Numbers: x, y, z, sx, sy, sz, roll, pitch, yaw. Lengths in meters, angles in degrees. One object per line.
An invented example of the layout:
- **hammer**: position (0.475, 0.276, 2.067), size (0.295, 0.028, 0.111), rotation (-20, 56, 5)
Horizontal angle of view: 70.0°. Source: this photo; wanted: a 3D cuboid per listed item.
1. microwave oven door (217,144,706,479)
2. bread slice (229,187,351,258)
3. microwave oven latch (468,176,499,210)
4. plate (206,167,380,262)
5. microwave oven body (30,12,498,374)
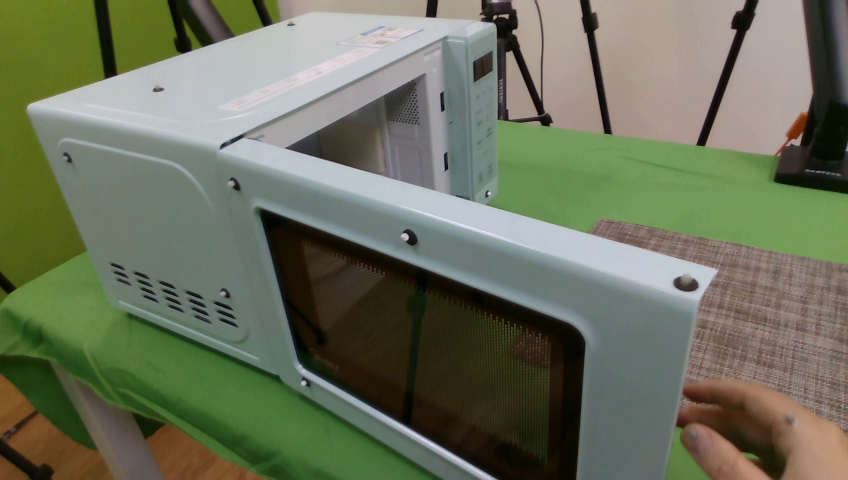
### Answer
- **microwave oven door**: position (-0.002, 0.076, 0.428), size (0.353, 0.246, 0.039), rotation (18, 38, 34)
- **bread slice**: position (-0.159, -0.029, 0.744), size (0.104, 0.019, 0.131), rotation (22, 42, 35)
- **microwave oven latch**: position (0.079, -0.064, 0.851), size (0.030, 0.030, 0.079), rotation (15, 37, 29)
- **plate**: position (-0.156, -0.030, 0.741), size (0.209, 0.038, 0.207), rotation (-4, 31, 3)
- **microwave oven body**: position (-0.147, -0.093, 0.743), size (0.324, 0.262, 0.441), rotation (14, 37, 28)
